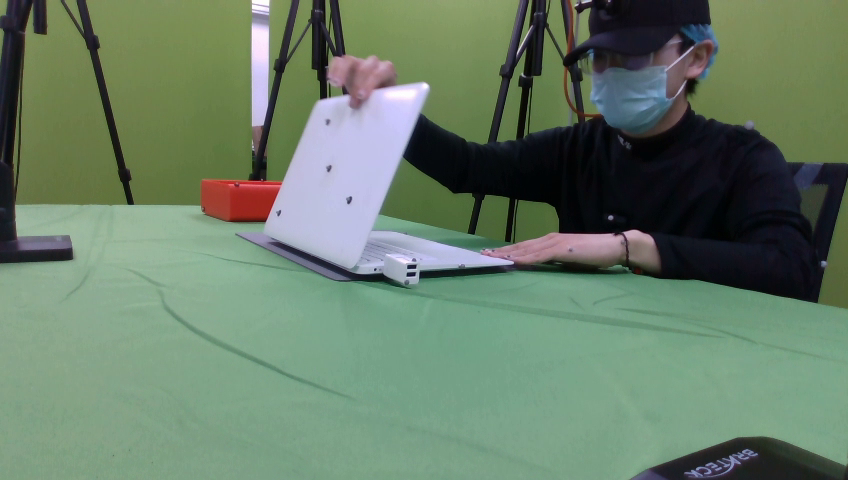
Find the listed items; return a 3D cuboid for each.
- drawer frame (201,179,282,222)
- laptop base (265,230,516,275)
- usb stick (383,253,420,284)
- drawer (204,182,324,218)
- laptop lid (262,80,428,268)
[{"bbox_3d":[-0.361,-0.092,1.356,0.215,0.082,0.200,-4,10,-37],"label":"drawer frame"},{"bbox_3d":[-0.066,0.014,0.877,0.237,0.023,0.352,2,7,-32],"label":"laptop base"},{"bbox_3d":[-0.029,0.030,0.675,0.021,0.027,0.059,-1,9,-35],"label":"usb stick"},{"bbox_3d":[-0.360,-0.091,1.358,0.213,0.073,0.193,-4,10,-36],"label":"drawer"},{"bbox_3d":[-0.126,-0.098,0.822,0.013,0.241,0.355,24,-4,-32],"label":"laptop lid"}]
